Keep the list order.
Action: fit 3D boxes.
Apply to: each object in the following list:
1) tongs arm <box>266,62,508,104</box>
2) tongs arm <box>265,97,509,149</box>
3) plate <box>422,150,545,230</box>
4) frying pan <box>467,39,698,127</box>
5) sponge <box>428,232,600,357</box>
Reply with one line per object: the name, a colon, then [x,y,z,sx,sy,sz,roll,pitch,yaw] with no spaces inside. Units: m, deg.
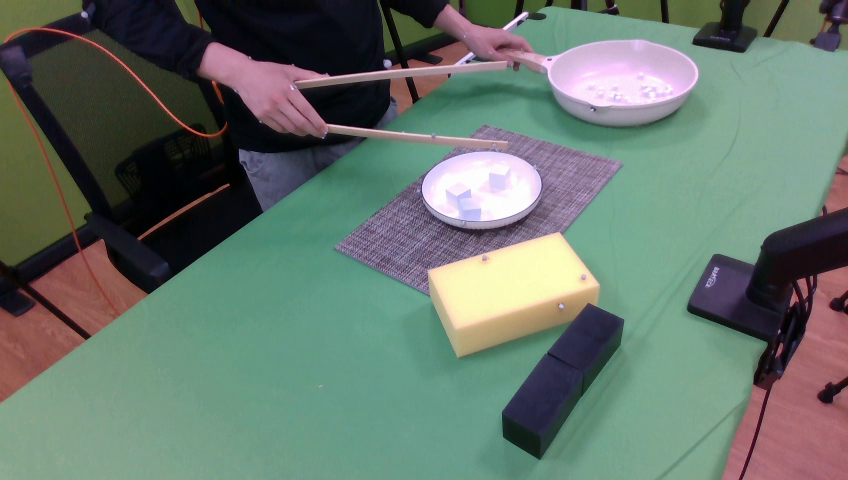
tongs arm: [-0.057,-0.256,0.968,0.388,0.028,0.028,-6,80,-1]
tongs arm: [-0.060,-0.184,0.949,0.385,0.026,0.050,4,77,2]
plate: [0.101,-0.082,1.031,0.207,0.039,0.206,-4,40,4]
frying pan: [0.312,-0.359,1.277,0.485,0.103,0.307,23,48,19]
sponge: [0.120,0.071,0.834,0.207,0.061,0.117,-15,43,-12]
